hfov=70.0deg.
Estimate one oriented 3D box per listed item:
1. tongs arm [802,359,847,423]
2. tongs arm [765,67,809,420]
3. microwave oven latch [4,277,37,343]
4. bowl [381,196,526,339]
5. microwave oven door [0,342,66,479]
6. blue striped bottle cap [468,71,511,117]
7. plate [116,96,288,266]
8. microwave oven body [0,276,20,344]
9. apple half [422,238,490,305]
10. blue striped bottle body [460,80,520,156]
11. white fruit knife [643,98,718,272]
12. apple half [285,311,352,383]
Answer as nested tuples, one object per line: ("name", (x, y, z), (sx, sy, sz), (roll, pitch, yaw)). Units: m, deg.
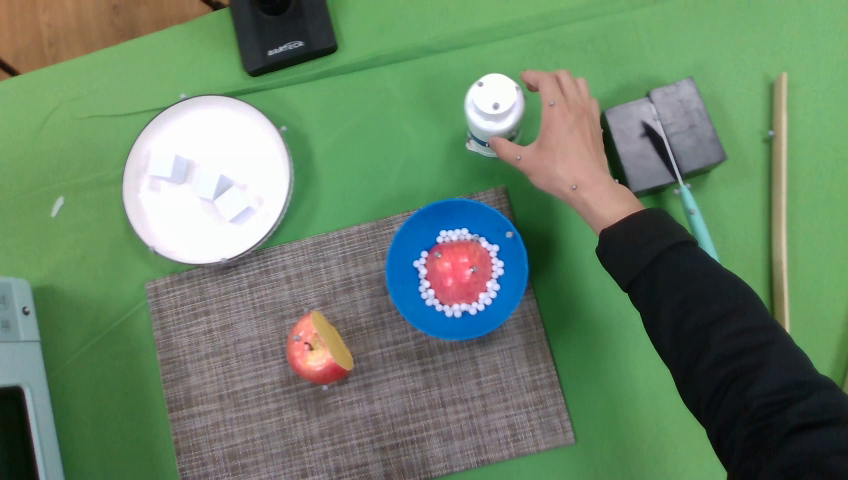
("tongs arm", (0.473, 0.010, 0.651), (0.050, 0.026, 0.384), (14, 85, 9))
("tongs arm", (0.394, -0.002, 0.665), (0.028, 0.028, 0.386), (1, 83, 4))
("microwave oven latch", (-0.485, 0.084, 0.715), (0.030, 0.029, 0.079), (-16, 82, 3))
("bowl", (0.034, 0.033, 0.665), (0.151, 0.077, 0.151), (-1, 82, 7))
("microwave oven door", (-0.436, 0.276, 0.582), (0.039, 0.245, 0.354), (-18, 81, 3))
("blue striped bottle cap", (0.067, -0.149, 0.617), (0.044, 0.021, 0.044), (0, 85, 6))
("plate", (-0.263, -0.069, 0.733), (0.207, 0.039, 0.207), (-1, 82, 5))
("microwave oven body", (-0.587, 0.280, 0.601), (0.326, 0.261, 0.440), (-17, 81, 3))
("apple half", (0.035, 0.033, 0.660), (0.081, 0.033, 0.081), (-1, 81, 6))
("blue striped bottle body", (0.072, -0.139, 0.667), (0.063, 0.121, 0.063), (-1, 81, 5))
("white fruit knife", (0.275, -0.056, 0.653), (0.016, 0.027, 0.208), (-22, 98, 21))
("apple half", (-0.122, 0.124, 0.671), (0.053, 0.075, 0.080), (-35, 84, 4))
